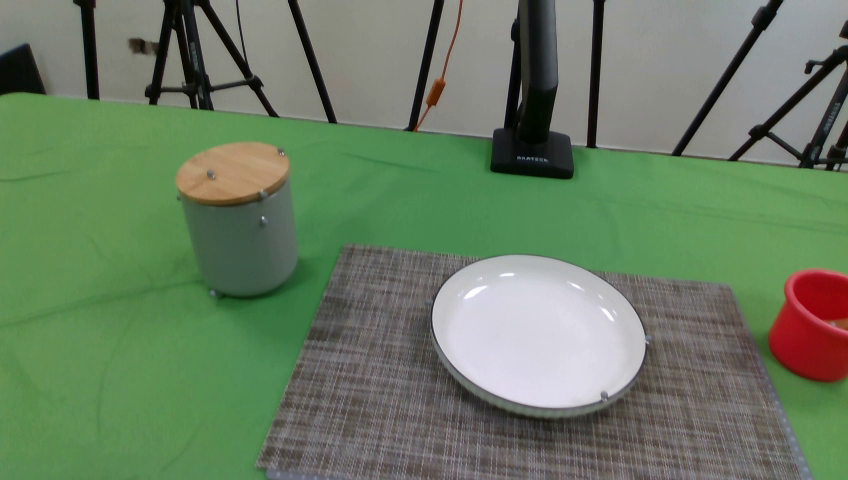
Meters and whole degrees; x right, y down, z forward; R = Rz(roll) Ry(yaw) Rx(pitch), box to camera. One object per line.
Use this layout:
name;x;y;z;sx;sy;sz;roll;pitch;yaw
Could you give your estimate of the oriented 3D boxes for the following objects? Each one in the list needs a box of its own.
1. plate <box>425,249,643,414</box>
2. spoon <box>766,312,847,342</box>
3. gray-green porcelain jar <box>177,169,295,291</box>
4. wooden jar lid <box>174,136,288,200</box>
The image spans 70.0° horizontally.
plate;0.104;0.088;0.594;0.208;0.039;0.205;2;38;-2
spoon;0.425;0.068;0.565;0.193;0.022;0.041;-25;15;44
gray-green porcelain jar;-0.193;-0.018;0.638;0.106;0.127;0.105;2;39;-2
wooden jar lid;-0.189;-0.068;0.598;0.108;0.021;0.107;0;39;0
